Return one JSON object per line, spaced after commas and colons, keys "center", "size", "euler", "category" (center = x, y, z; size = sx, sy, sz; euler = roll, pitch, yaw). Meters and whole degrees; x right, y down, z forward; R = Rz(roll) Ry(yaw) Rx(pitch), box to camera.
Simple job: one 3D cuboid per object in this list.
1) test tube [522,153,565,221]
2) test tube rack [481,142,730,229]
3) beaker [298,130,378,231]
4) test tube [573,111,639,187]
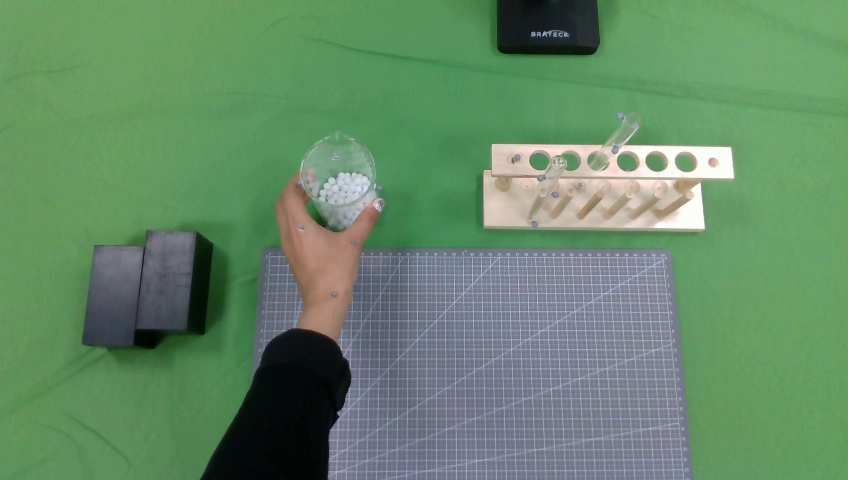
{"center": [0.116, -0.049, 0.595], "size": [0.017, 0.151, 0.017], "euler": [0, 73, -1], "category": "test tube"}
{"center": [0.186, -0.055, 0.644], "size": [0.242, 0.085, 0.066], "euler": [1, 76, -1], "category": "test tube rack"}
{"center": [-0.086, -0.057, 0.631], "size": [0.074, 0.101, 0.083], "euler": [-4, 75, -3], "category": "beaker"}
{"center": [0.176, -0.085, 0.601], "size": [0.017, 0.151, 0.017], "euler": [1, 73, -4], "category": "test tube"}
